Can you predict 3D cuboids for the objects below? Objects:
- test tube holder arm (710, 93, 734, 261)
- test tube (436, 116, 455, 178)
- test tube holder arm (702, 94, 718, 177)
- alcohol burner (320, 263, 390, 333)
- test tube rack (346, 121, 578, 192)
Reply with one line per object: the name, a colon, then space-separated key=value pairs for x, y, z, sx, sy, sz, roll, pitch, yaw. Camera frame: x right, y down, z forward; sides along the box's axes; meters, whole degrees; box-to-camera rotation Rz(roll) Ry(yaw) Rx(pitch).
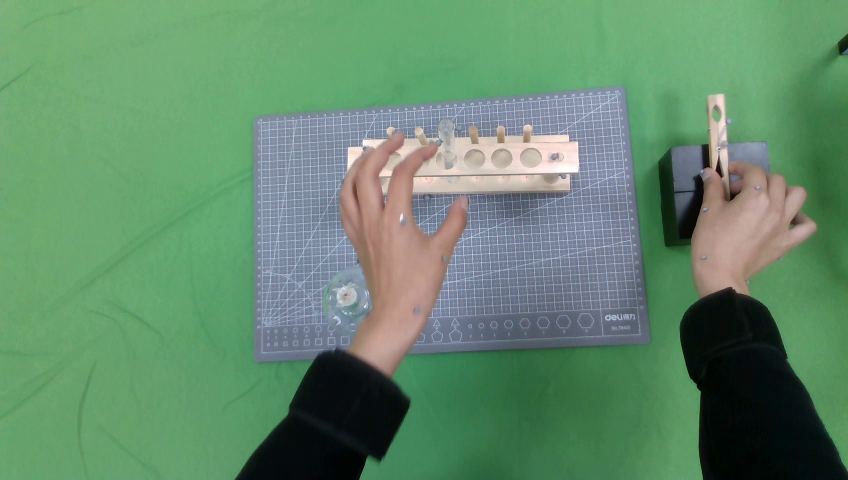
test tube holder arm: x=0.311 y=-0.067 z=0.635 sx=0.013 sy=0.015 sz=0.178 roll=-6 pitch=81 yaw=21
test tube: x=0.023 y=-0.092 z=0.625 sx=0.017 sy=0.151 sz=0.017 roll=-1 pitch=79 yaw=4
test tube holder arm: x=0.304 y=-0.111 z=0.643 sx=0.010 sy=0.015 sz=0.087 roll=-5 pitch=82 yaw=21
alcohol burner: x=-0.077 y=0.061 z=0.648 sx=0.078 sy=0.119 sz=0.077 roll=-1 pitch=80 yaw=4
test tube rack: x=0.042 y=-0.097 z=0.675 sx=0.242 sy=0.085 sz=0.066 roll=-1 pitch=82 yaw=5
